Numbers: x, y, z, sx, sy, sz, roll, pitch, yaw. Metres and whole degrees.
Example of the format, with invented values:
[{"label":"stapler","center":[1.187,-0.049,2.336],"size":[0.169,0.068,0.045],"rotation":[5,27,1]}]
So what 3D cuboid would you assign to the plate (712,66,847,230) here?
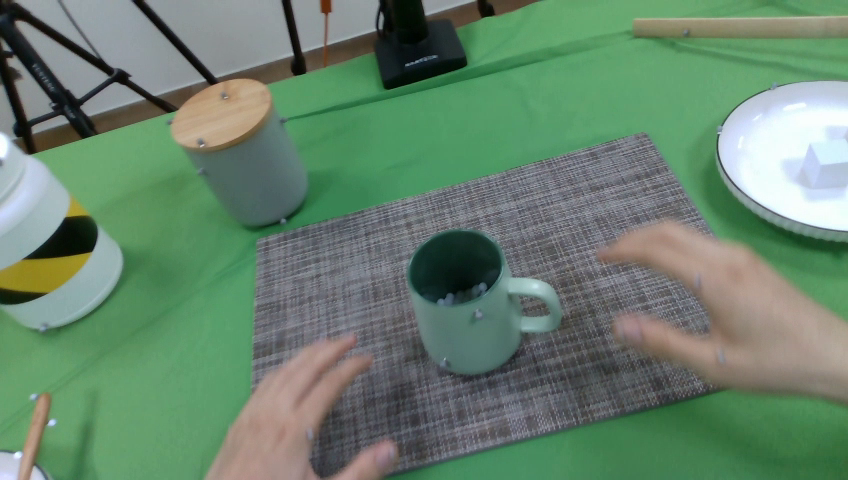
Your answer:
[{"label":"plate","center":[0.383,-0.085,0.571],"size":[0.207,0.039,0.205],"rotation":[-7,50,9]}]

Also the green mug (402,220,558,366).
[{"label":"green mug","center":[0.048,0.047,0.504],"size":[0.125,0.106,0.092],"rotation":[3,52,17]}]

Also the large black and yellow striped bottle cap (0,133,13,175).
[{"label":"large black and yellow striped bottle cap","center":[-0.447,-0.065,0.567],"size":[0.115,0.019,0.114],"rotation":[-8,49,9]}]

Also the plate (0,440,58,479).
[{"label":"plate","center":[-0.385,0.268,0.487],"size":[0.209,0.038,0.207],"rotation":[-7,50,9]}]

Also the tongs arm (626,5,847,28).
[{"label":"tongs arm","center":[0.414,-0.251,0.669],"size":[0.384,0.028,0.028],"rotation":[13,50,34]}]

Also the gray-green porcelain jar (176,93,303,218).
[{"label":"gray-green porcelain jar","center":[-0.201,-0.096,0.677],"size":[0.106,0.128,0.105],"rotation":[-7,50,9]}]

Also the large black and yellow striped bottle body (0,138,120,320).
[{"label":"large black and yellow striped bottle body","center":[-0.429,-0.014,0.632],"size":[0.130,0.186,0.129],"rotation":[-7,50,9]}]

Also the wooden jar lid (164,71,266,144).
[{"label":"wooden jar lid","center":[-0.214,-0.135,0.630],"size":[0.108,0.021,0.107],"rotation":[-6,53,9]}]

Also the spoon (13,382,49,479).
[{"label":"spoon","center":[-0.334,0.207,0.503],"size":[0.041,0.022,0.192],"rotation":[-13,58,2]}]
